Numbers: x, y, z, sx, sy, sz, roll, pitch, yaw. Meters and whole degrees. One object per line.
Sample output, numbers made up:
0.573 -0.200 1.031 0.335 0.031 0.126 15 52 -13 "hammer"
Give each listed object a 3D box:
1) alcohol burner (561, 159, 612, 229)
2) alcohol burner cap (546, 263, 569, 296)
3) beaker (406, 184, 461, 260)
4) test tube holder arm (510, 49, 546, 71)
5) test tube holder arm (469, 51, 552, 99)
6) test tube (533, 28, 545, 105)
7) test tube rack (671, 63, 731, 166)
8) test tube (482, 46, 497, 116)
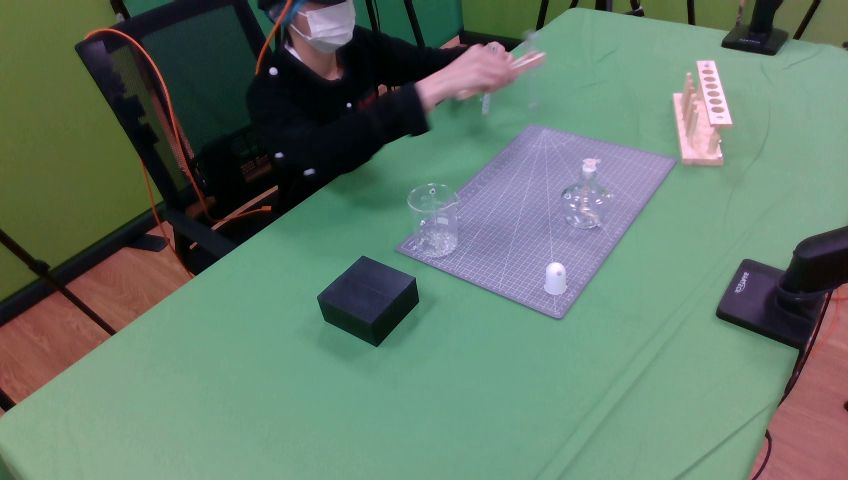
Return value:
0.257 -0.077 0.951 0.078 0.119 0.077 -3 40 3 "alcohol burner"
0.191 0.053 0.862 0.034 0.048 0.033 -5 40 4 "alcohol burner cap"
0.019 -0.026 0.939 0.084 0.101 0.074 1 41 10 "beaker"
0.173 -0.294 1.006 0.010 0.015 0.088 27 52 36 "test tube holder arm"
0.143 -0.269 0.982 0.179 0.015 0.013 -32 44 -25 "test tube holder arm"
0.197 -0.292 1.030 0.017 0.151 0.017 -6 51 8 "test tube"
0.513 -0.241 1.132 0.066 0.085 0.242 4 41 14 "test tube rack"
0.125 -0.303 1.166 0.017 0.151 0.017 1 47 -1 "test tube"
